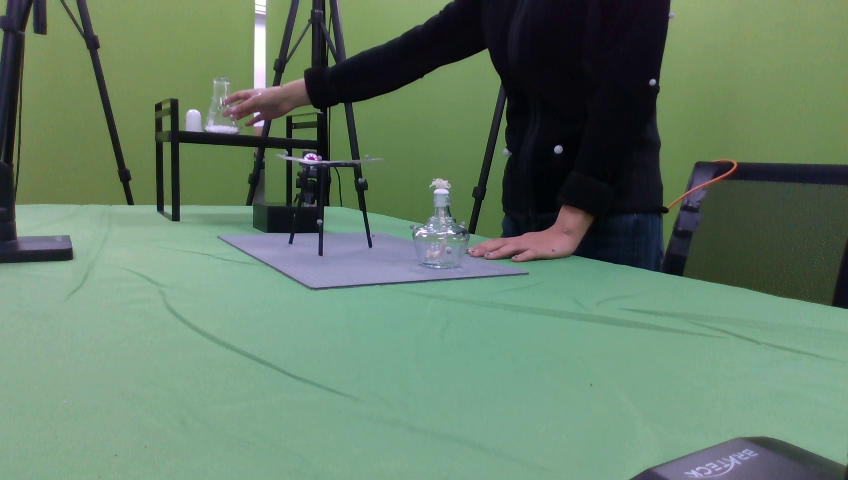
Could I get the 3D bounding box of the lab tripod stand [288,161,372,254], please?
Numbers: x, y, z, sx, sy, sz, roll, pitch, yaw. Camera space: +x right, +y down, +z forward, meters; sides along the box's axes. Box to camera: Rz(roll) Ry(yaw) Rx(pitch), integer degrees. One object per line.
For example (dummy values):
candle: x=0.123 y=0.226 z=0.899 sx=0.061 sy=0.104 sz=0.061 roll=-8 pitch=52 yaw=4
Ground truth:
lab tripod stand: x=-0.147 y=-0.052 z=0.909 sx=0.148 sy=0.131 sz=0.148 roll=1 pitch=8 yaw=0

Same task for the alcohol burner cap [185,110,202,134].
alcohol burner cap: x=-0.470 y=-0.241 z=1.234 sx=0.034 sy=0.048 sz=0.034 roll=3 pitch=7 yaw=0

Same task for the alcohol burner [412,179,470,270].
alcohol burner: x=0.023 y=-0.021 z=0.805 sx=0.078 sy=0.119 sz=0.078 roll=0 pitch=8 yaw=0

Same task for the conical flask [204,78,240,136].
conical flask: x=-0.443 y=-0.292 z=1.327 sx=0.075 sy=0.122 sz=0.075 roll=2 pitch=7 yaw=0

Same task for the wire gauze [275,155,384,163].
wire gauze: x=-0.142 y=-0.118 z=0.900 sx=0.122 sy=0.011 sz=0.124 roll=-3 pitch=8 yaw=-37
